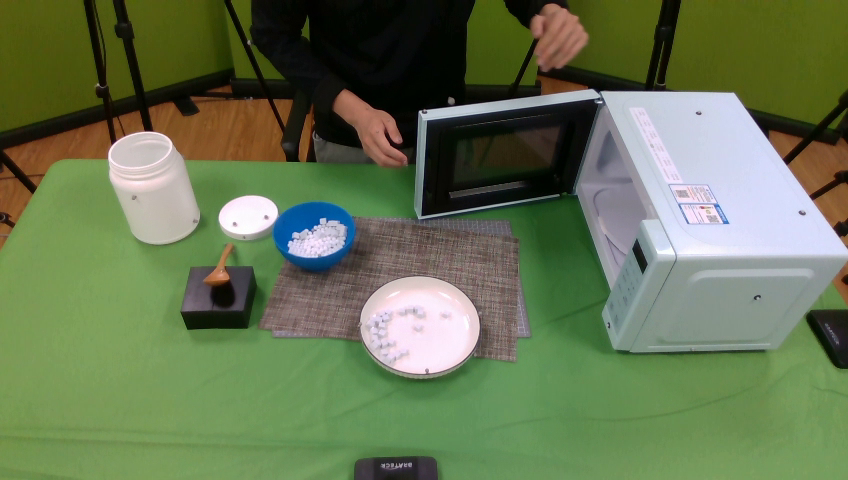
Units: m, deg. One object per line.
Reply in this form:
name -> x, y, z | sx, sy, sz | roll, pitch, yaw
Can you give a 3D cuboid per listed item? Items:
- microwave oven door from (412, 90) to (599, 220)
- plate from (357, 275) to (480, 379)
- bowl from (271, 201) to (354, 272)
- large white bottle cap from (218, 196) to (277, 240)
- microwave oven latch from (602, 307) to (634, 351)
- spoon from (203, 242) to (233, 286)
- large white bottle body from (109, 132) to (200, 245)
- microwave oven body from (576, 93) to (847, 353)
microwave oven door -> 0.156, -0.167, 1.200 | 0.356, 0.245, 0.039 | -10, 47, -14
plate -> -0.010, 0.151, 1.038 | 0.209, 0.038, 0.208 | 2, 47, -2
bowl -> -0.205, 0.006, 1.135 | 0.151, 0.077, 0.150 | 3, 46, -3
large white bottle cap -> -0.355, -0.045, 1.220 | 0.115, 0.018, 0.114 | 1, 45, -1
microwave oven latch -> 0.332, 0.153, 1.044 | 0.030, 0.029, 0.078 | -1, 45, -4
spoon -> -0.360, 0.039, 1.087 | 0.041, 0.022, 0.192 | -6, 24, -7
large white bottle body -> -0.506, -0.097, 1.141 | 0.131, 0.185, 0.130 | 2, 46, -2
microwave oven body -> 0.475, -0.041, 1.109 | 0.326, 0.261, 0.438 | -1, 45, -4
